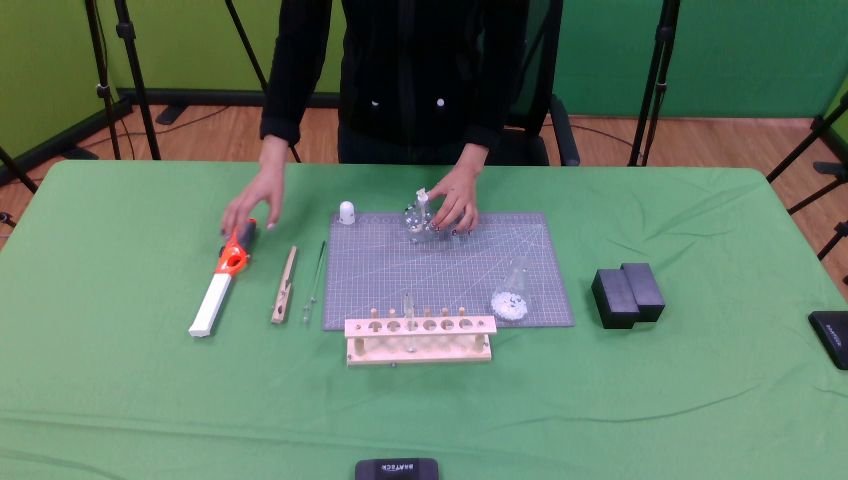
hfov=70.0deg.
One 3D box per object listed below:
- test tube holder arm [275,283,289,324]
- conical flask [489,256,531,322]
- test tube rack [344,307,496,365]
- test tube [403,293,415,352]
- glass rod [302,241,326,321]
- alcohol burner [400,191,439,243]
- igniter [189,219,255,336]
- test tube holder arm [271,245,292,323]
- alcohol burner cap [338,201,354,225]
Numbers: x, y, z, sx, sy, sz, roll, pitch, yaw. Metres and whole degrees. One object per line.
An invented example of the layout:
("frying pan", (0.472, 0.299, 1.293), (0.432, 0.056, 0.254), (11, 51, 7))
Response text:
("test tube holder arm", (-0.254, 0.110, 1.077), (0.010, 0.015, 0.087), (29, 38, -27))
("conical flask", (0.158, 0.081, 1.061), (0.075, 0.122, 0.075), (2, 46, -2))
("test tube rack", (-0.009, 0.154, 1.007), (0.242, 0.085, 0.066), (-1, 46, -5))
("test tube", (-0.024, 0.133, 0.957), (0.017, 0.151, 0.017), (0, 48, 0))
("glass rod", (-0.203, 0.071, 1.124), (0.008, 0.008, 0.198), (4, 44, 1))
("alcohol burner", (-0.007, -0.052, 1.182), (0.078, 0.119, 0.077), (3, 47, -3))
("igniter", (-0.365, 0.058, 1.110), (0.057, 0.025, 0.275), (-1, 45, 8))
("test tube holder arm", (-0.259, 0.076, 1.106), (0.013, 0.015, 0.177), (28, 38, -28))
("alcohol burner cap", (-0.159, -0.056, 1.224), (0.034, 0.048, 0.033), (2, 47, -2))
